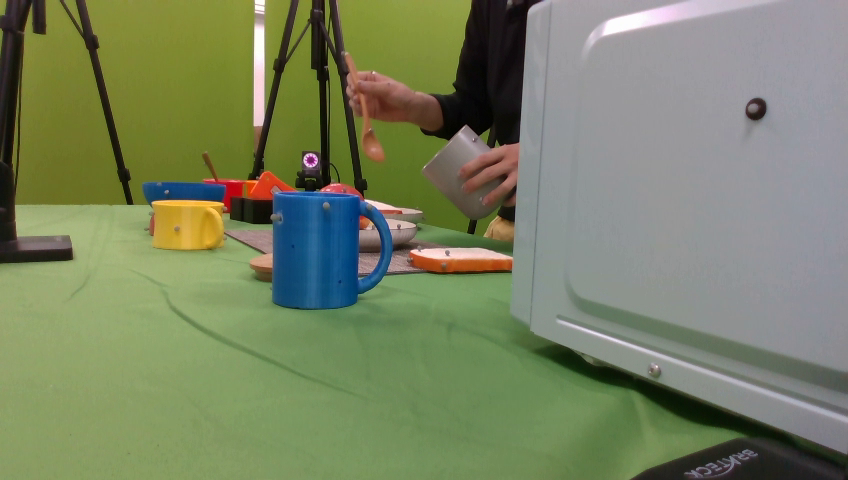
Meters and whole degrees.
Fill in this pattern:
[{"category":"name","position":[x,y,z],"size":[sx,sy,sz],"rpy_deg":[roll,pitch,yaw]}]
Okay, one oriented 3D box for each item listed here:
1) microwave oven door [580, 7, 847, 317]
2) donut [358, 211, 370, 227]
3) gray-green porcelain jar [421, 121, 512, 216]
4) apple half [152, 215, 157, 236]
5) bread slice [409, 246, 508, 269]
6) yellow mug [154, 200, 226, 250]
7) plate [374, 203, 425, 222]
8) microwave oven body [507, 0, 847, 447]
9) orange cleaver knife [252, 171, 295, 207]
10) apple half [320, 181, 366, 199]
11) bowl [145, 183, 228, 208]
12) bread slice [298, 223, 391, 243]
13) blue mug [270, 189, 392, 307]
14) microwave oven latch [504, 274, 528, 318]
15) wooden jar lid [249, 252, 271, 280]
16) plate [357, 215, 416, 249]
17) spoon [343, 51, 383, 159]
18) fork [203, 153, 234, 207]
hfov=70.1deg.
[{"category":"microwave oven door","position":[0.295,-0.067,0.570],"size":[0.358,0.243,0.039],"rpy_deg":[-3,9,-31]},{"category":"donut","position":[-0.132,-0.042,0.959],"size":[0.099,0.048,0.099],"rpy_deg":[3,8,0]},{"category":"gray-green porcelain jar","position":[0.077,-0.109,0.964],"size":[0.126,0.106,0.106],"rpy_deg":[43,5,-6]},{"category":"apple half","position":[-0.415,-0.034,1.017],"size":[0.081,0.053,0.074],"rpy_deg":[1,10,-8]},{"category":"bread slice","position":[0.047,0.022,0.816],"size":[0.132,0.019,0.104],"rpy_deg":[0,7,-24]},{"category":"yellow mug","position":[-0.337,-0.022,0.899],"size":[0.130,0.064,0.100],"rpy_deg":[8,9,34]},{"category":"plate","position":[-0.102,-0.053,1.299],"size":[0.209,0.038,0.209],"rpy_deg":[2,8,0]},{"category":"microwave oven body","position":[0.331,-0.042,0.425],"size":[0.444,0.260,0.324],"rpy_deg":[-2,8,-31]},{"category":"orange cleaver knife","position":[-0.283,-0.087,1.343],"size":[0.212,0.077,0.012],"rpy_deg":[24,-16,-41]},{"category":"apple half","position":[-0.130,-0.077,0.952],"size":[0.081,0.033,0.081],"rpy_deg":[3,15,-1]},{"category":"bowl","position":[-0.459,-0.069,1.175],"size":[0.151,0.077,0.151],"rpy_deg":[3,7,0]},{"category":"bread slice","position":[-0.121,-0.013,0.971],"size":[0.106,0.018,0.135],"rpy_deg":[9,11,41]},{"category":"blue mug","position":[-0.090,0.005,0.588],"size":[0.117,0.106,0.082],"rpy_deg":[1,7,-11]},{"category":"microwave oven latch","position":[0.100,0.041,0.470],"size":[0.079,0.029,0.030],"rpy_deg":[-1,7,-27]},{"category":"wooden jar lid","position":[-0.148,0.028,0.708],"size":[0.108,0.020,0.108],"rpy_deg":[-1,10,0]},{"category":"plate","position":[-0.116,-0.014,0.967],"size":[0.208,0.039,0.207],"rpy_deg":[2,7,0]},{"category":"spoon","position":[-0.103,-0.223,1.002],"size":[0.042,0.193,0.021],"rpy_deg":[-10,-5,-44]},{"category":"fork","position":[-0.480,-0.134,1.411],"size":[0.028,0.018,0.207],"rpy_deg":[1,-35,0]}]
